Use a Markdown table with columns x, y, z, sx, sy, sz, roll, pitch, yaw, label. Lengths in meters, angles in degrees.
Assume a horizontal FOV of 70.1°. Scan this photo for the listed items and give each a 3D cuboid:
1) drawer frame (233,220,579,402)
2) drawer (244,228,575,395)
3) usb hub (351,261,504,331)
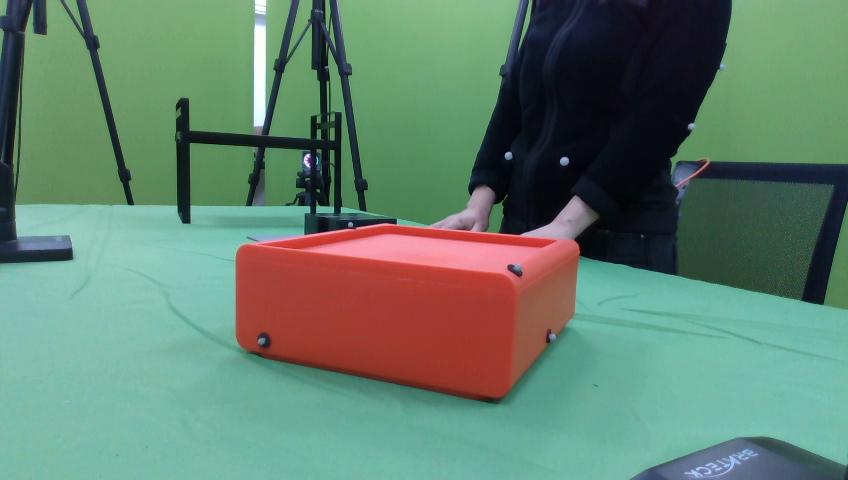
| x | y | z | sx | sy | sz | roll | pitch | yaw | label |
| --- | --- | --- | --- | --- | --- | --- | --- | --- | --- |
| 0.001 | 0.038 | 0.475 | 0.201 | 0.082 | 0.214 | 6 | 9 | 22 | drawer frame |
| 0.003 | 0.042 | 0.477 | 0.194 | 0.073 | 0.212 | 6 | 10 | 22 | drawer |
| 0.002 | 0.046 | 0.510 | 0.124 | 0.025 | 0.050 | 16 | 0 | 29 | usb hub |
